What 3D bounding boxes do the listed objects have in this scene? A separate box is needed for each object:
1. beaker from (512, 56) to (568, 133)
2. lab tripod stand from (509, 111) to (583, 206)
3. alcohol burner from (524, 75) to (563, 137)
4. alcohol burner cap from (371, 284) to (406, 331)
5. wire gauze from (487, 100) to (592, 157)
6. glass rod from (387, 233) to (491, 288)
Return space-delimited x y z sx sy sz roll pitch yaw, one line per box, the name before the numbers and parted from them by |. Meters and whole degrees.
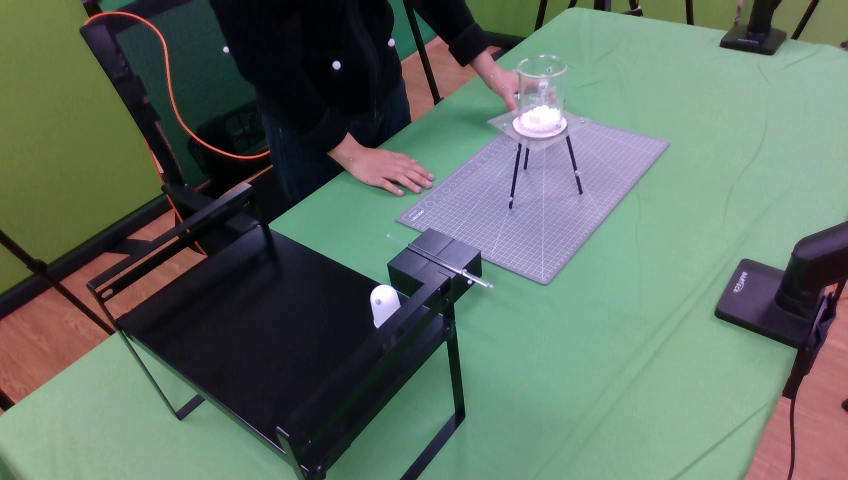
beaker | 0.181 -0.225 0.946 0.084 0.101 0.074 2 41 12
lab tripod stand | 0.197 -0.139 1.020 0.148 0.132 0.147 -3 39 3
alcohol burner | 0.232 -0.262 1.175 0.078 0.119 0.077 -6 39 5
alcohol burner cap | -0.037 0.065 0.608 0.034 0.048 0.033 -4 42 4
wire gauze | 0.185 -0.187 0.974 0.122 0.011 0.124 -28 47 -22
glass rod | 0.017 0.027 0.877 0.198 0.008 0.008 26 51 34
